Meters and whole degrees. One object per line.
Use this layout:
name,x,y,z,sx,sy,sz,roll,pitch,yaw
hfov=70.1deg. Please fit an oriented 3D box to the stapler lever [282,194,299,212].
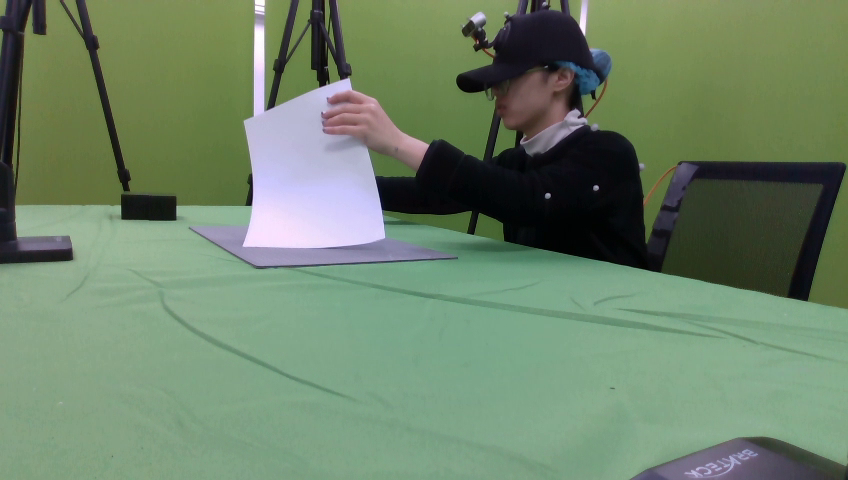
stapler lever,-0.283,-0.078,1.291,0.027,0.040,0.118,8,3,-8

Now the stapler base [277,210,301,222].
stapler base,-0.285,-0.053,1.291,0.041,0.024,0.130,8,3,-8
